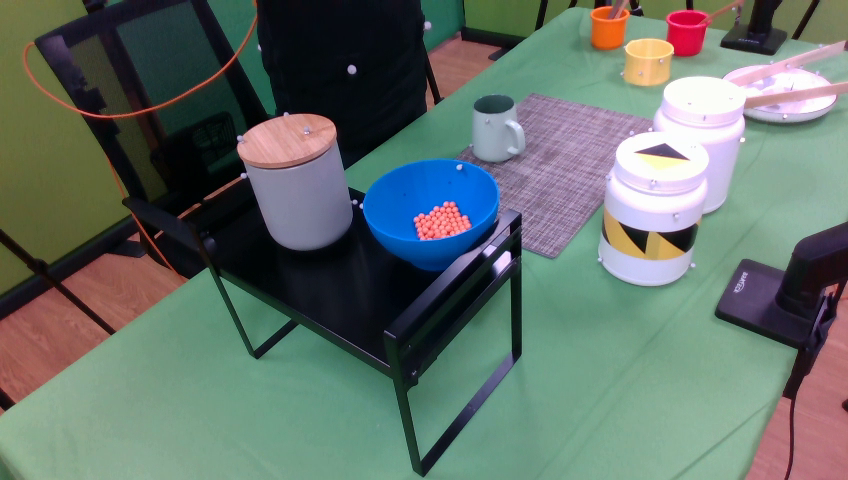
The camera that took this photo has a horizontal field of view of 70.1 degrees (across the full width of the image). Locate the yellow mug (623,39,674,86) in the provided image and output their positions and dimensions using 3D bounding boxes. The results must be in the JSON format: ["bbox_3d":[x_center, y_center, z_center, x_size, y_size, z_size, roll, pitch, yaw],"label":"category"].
[{"bbox_3d":[0.484,-0.398,1.334,0.100,0.064,0.130,-18,41,-10],"label":"yellow mug"}]

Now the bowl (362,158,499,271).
[{"bbox_3d":[0.011,-0.019,0.679,0.151,0.077,0.150,-5,41,4],"label":"bowl"}]

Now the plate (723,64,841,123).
[{"bbox_3d":[0.695,-0.282,1.189,0.207,0.039,0.206,-4,40,4],"label":"plate"}]

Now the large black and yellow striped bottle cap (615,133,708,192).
[{"bbox_3d":[0.313,-0.105,0.799,0.115,0.019,0.114,-5,41,5],"label":"large black and yellow striped bottle cap"}]

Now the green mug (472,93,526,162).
[{"bbox_3d":[0.144,-0.202,1.122,0.093,0.105,0.124,-29,45,-23],"label":"green mug"}]

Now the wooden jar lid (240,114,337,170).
[{"bbox_3d":[-0.149,-0.106,0.673,0.108,0.021,0.108,-6,39,5],"label":"wooden jar lid"}]

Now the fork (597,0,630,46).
[{"bbox_3d":[0.481,-0.556,1.452,0.028,0.019,0.207,38,102,38],"label":"fork"}]

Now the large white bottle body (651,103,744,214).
[{"bbox_3d":[0.426,-0.146,0.958,0.130,0.185,0.130,-4,40,4],"label":"large white bottle body"}]

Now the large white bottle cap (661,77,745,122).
[{"bbox_3d":[0.415,-0.210,0.904,0.115,0.018,0.114,-4,40,4],"label":"large white bottle cap"}]

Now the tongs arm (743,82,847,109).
[{"bbox_3d":[0.738,-0.282,1.133,0.388,0.028,0.028,-9,46,-5],"label":"tongs arm"}]

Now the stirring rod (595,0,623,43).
[{"bbox_3d":[0.461,-0.555,1.459,0.014,0.006,0.176,30,93,26],"label":"stirring rod"}]

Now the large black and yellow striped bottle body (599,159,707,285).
[{"bbox_3d":[0.320,-0.042,0.854,0.131,0.185,0.130,-4,40,4],"label":"large black and yellow striped bottle body"}]

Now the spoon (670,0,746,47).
[{"bbox_3d":[0.629,-0.484,1.350,0.022,0.193,0.042,47,54,-7],"label":"spoon"}]

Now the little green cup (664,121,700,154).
[{"bbox_3d":[0.472,-0.188,1.113,0.061,0.039,0.061,-5,40,4],"label":"little green cup"}]

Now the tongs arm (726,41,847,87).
[{"bbox_3d":[0.712,-0.332,1.194,0.386,0.026,0.050,-18,44,-16],"label":"tongs arm"}]

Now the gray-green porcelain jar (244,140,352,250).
[{"bbox_3d":[-0.144,-0.060,0.714,0.106,0.127,0.105,-4,41,4],"label":"gray-green porcelain jar"}]
